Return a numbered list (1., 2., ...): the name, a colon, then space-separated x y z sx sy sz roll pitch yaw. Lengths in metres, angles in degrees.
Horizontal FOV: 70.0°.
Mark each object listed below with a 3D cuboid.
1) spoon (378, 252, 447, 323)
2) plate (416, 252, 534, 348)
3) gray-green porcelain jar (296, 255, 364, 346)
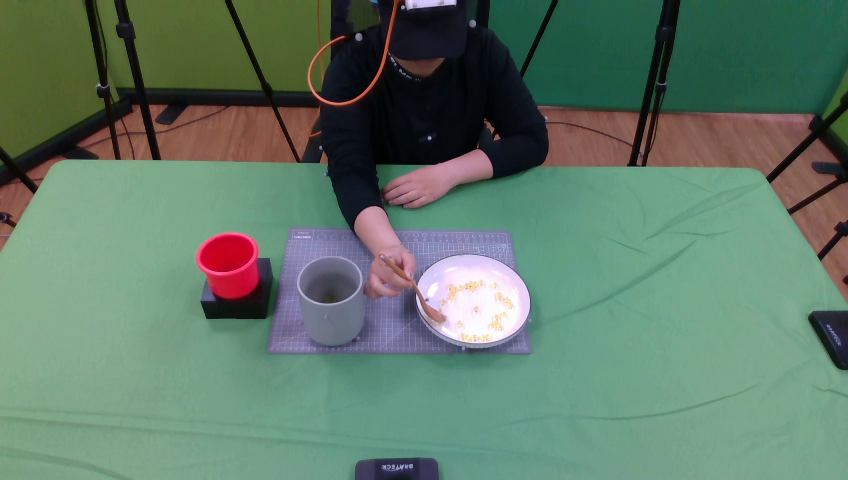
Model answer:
1. spoon: -0.017 0.079 0.998 0.021 0.195 0.041 -34 35 3
2. plate: 0.090 0.109 1.084 0.208 0.039 0.206 2 46 -2
3. gray-green porcelain jar: -0.153 0.106 1.008 0.106 0.127 0.105 2 46 -2
